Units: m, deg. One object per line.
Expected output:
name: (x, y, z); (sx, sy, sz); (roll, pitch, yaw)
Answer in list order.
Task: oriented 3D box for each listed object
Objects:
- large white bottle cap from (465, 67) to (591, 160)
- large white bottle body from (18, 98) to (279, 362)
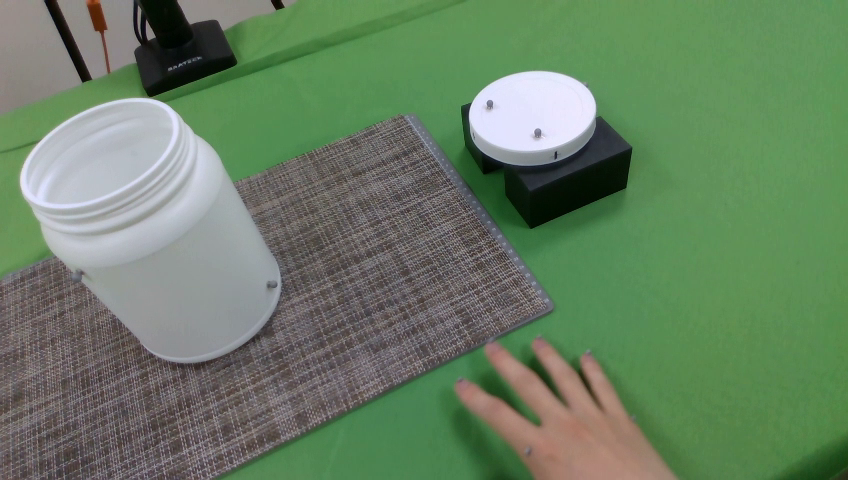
large white bottle cap: (0.095, -0.118, 0.556); (0.115, 0.018, 0.113); (-5, 51, 7)
large white bottle body: (-0.202, -0.003, 0.470); (0.130, 0.186, 0.129); (-5, 51, 6)
